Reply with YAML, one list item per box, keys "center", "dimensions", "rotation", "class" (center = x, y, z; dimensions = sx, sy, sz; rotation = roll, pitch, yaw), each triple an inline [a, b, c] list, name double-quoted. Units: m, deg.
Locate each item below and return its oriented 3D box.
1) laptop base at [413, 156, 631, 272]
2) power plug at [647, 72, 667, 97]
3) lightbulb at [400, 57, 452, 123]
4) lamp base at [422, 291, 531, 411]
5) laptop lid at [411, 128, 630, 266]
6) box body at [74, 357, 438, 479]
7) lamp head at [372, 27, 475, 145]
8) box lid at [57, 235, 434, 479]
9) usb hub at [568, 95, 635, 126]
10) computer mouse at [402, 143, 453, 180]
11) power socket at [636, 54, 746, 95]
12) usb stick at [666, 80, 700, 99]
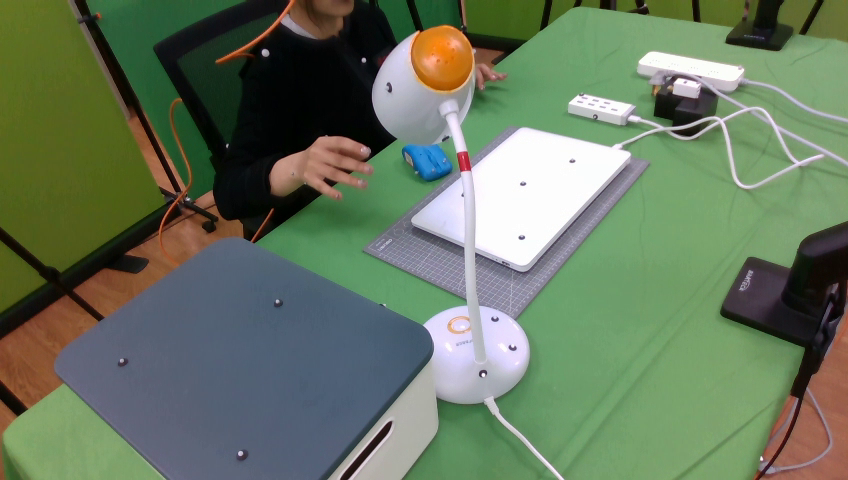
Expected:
- center: [0.176, -0.084, 1.055]
  dimensions: [0.233, 0.023, 0.355]
  rotation: [21, 48, 36]
  class: "laptop base"
- center: [0.494, -0.321, 1.261]
  dimensions: [0.073, 0.052, 0.035]
  rotation: [0, 21, -40]
  class: "power plug"
- center: [0.004, -0.169, 0.668]
  dimensions: [0.059, 0.108, 0.059]
  rotation: [1, 79, -3]
  class: "lightbulb"
- center: [0.055, 0.095, 0.740]
  dimensions: [0.161, 0.181, 0.177]
  rotation: [-19, 43, -11]
  class: "lamp base"
- center: [0.172, -0.093, 1.049]
  dimensions: [0.239, 0.013, 0.358]
  rotation: [24, 50, 36]
  class: "laptop lid"
- center: [-0.189, 0.178, 0.702]
  dimensions: [0.361, 0.161, 0.255]
  rotation: [22, 49, 32]
  class: "box body"
- center: [0.007, -0.167, 0.644]
  dimensions: [0.113, 0.112, 0.122]
  rotation: [-22, 2, -14]
  class: "lamp head"
- center: [-0.198, 0.123, 0.653]
  dimensions: [0.368, 0.015, 0.264]
  rotation: [22, 49, 32]
  class: "box lid"
- center: [0.360, -0.264, 1.228]
  dimensions: [0.124, 0.025, 0.049]
  rotation: [24, 49, 34]
  class: "usb hub"
- center: [0.006, -0.159, 1.165]
  dimensions: [0.063, 0.041, 0.116]
  rotation: [-21, 45, -16]
  class: "computer mouse"
- center: [0.564, -0.357, 1.293]
  dimensions: [0.225, 0.033, 0.072]
  rotation: [24, 51, 33]
  class: "power socket"
- center: [0.492, -0.288, 1.152]
  dimensions: [0.058, 0.027, 0.021]
  rotation: [20, 50, 34]
  class: "usb stick"
